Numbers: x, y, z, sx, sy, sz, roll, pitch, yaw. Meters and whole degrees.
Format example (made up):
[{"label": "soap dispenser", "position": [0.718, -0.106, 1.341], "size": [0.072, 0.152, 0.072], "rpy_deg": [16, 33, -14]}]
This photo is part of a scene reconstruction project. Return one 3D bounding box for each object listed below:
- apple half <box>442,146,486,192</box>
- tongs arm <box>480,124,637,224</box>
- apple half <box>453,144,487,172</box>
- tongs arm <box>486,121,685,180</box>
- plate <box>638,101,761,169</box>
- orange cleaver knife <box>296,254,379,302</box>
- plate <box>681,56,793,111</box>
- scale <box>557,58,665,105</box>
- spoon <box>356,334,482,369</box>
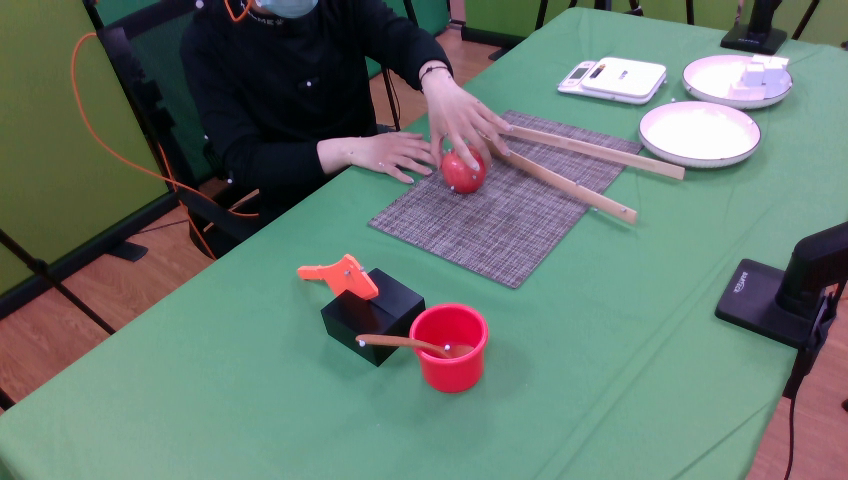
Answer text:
[{"label": "apple half", "position": [0.064, -0.119, 1.061], "size": [0.080, 0.075, 0.053], "rpy_deg": [27, 55, 30]}, {"label": "tongs arm", "position": [0.228, -0.128, 1.081], "size": [0.051, 0.026, 0.381], "rpy_deg": [-33, 46, -26]}, {"label": "apple half", "position": [0.087, -0.141, 1.082], "size": [0.080, 0.081, 0.033], "rpy_deg": [24, 53, 32]}, {"label": "tongs arm", "position": [0.288, -0.170, 1.124], "size": [0.384, 0.028, 0.028], "rpy_deg": [21, 52, 30]}, {"label": "plate", "position": [0.500, -0.189, 1.111], "size": [0.209, 0.038, 0.208], "rpy_deg": [-4, 41, 4]}, {"label": "orange cleaver knife", "position": [-0.128, 0.058, 0.874], "size": [0.012, 0.077, 0.210], "rpy_deg": [-38, 16, -30]}, {"label": "plate", "position": [0.636, -0.317, 1.239], "size": [0.207, 0.039, 0.206], "rpy_deg": [-4, 40, 4]}, {"label": "scale", "position": [0.407, -0.348, 1.314], "size": [0.199, 0.032, 0.149], "rpy_deg": [19, 47, 28]}, {"label": "spoon", "position": [-0.001, 0.130, 0.731], "size": [0.195, 0.021, 0.041], "rpy_deg": [21, 28, -39]}]
